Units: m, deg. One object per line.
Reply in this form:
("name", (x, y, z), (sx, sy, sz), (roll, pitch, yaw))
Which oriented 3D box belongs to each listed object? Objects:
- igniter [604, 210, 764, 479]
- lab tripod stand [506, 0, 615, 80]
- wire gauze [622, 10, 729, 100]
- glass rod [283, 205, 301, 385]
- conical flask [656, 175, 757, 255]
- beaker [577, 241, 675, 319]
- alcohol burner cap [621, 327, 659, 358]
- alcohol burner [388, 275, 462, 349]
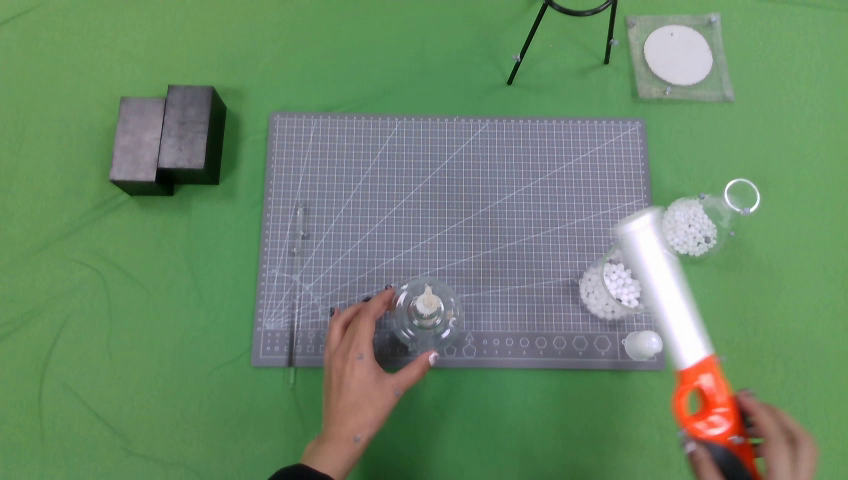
("igniter", (0.216, 0.105, 0.493), (0.057, 0.025, 0.277), (-29, 99, -11))
("lab tripod stand", (0.156, -0.258, 0.693), (0.148, 0.132, 0.147), (0, 78, -1))
("wire gauze", (0.315, -0.232, 0.755), (0.125, 0.011, 0.121), (0, 77, -3))
("glass rod", (-0.145, 0.058, 0.669), (0.008, 0.008, 0.199), (2, 79, -1))
("conical flask", (0.305, -0.032, 0.647), (0.075, 0.122, 0.075), (0, 76, -1))
("beaker", (0.208, 0.042, 0.636), (0.084, 0.100, 0.073), (-22, 77, -7))
("alcohol burner cap", (0.235, 0.108, 0.650), (0.034, 0.048, 0.033), (0, 75, -2))
("alcohol burner", (0.000, 0.071, 0.616), (0.078, 0.119, 0.077), (0, 75, 1))
